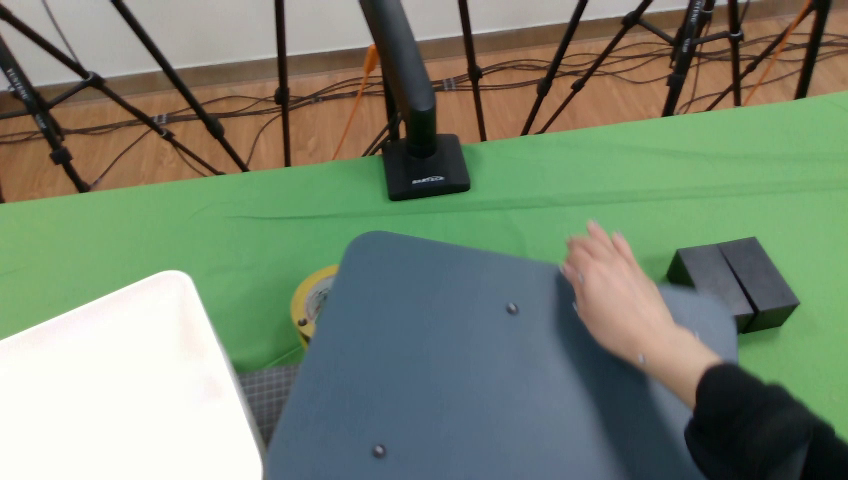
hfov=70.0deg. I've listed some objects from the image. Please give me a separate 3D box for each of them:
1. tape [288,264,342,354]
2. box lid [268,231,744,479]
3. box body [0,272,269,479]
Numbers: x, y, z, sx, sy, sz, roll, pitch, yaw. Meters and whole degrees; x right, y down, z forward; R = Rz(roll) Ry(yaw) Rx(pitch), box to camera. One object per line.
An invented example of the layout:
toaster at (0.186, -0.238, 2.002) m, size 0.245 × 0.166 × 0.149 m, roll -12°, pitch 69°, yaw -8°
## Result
tape at (-0.101, 0.087, 0.716) m, size 0.117 × 0.053 × 0.115 m, roll -1°, pitch 49°, yaw 1°
box lid at (0.083, 0.129, 0.513) m, size 0.371 × 0.015 × 0.261 m, roll 12°, pitch 55°, yaw 5°
box body at (-0.329, 0.228, 0.541) m, size 0.364 × 0.162 × 0.251 m, roll -25°, pitch 55°, yaw -17°
